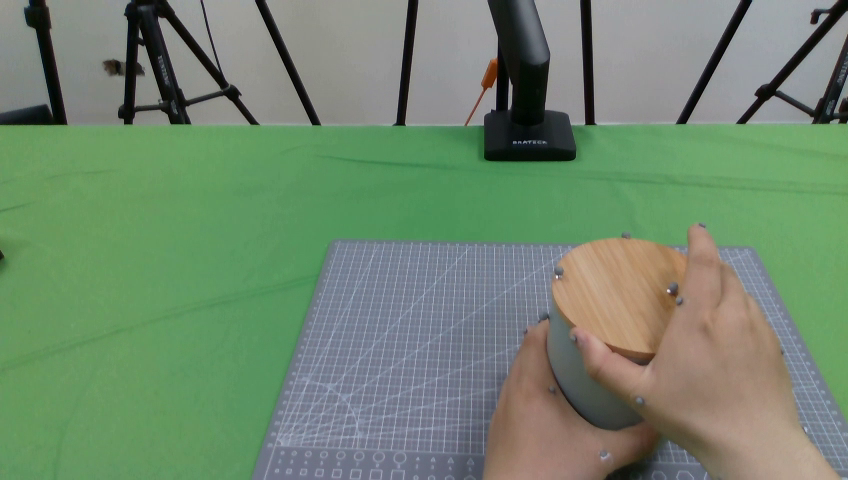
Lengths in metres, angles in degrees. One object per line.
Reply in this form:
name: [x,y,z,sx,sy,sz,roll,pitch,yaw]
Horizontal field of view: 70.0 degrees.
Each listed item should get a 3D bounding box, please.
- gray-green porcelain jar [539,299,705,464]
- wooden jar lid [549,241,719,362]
gray-green porcelain jar: [0.139,0.091,0.443,0.106,0.127,0.105,-2,38,2]
wooden jar lid: [0.137,0.042,0.404,0.108,0.021,0.107,-2,39,2]
